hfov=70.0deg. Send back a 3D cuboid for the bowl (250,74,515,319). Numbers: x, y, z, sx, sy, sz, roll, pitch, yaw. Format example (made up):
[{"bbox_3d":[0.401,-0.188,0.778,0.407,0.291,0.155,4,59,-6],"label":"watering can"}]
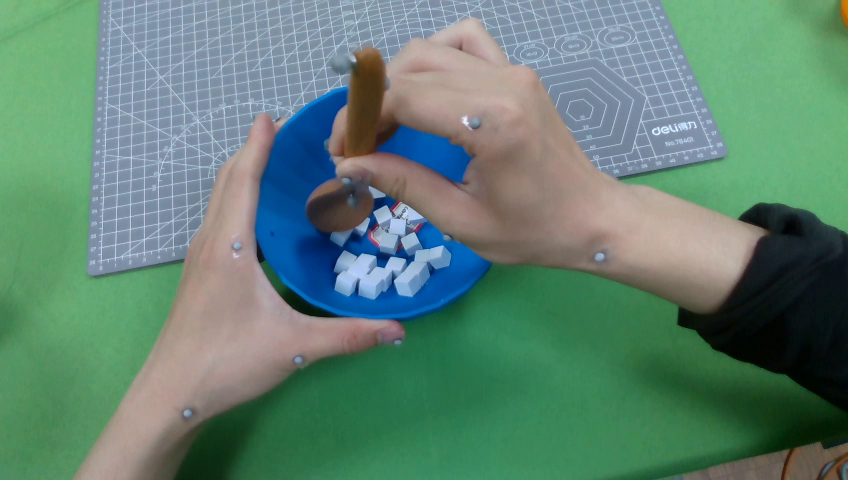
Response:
[{"bbox_3d":[-0.022,-0.017,0.377,0.151,0.077,0.150,-1,71,2],"label":"bowl"}]

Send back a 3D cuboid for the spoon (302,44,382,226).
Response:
[{"bbox_3d":[-0.036,-0.037,0.288,0.042,0.194,0.021,-6,81,-13],"label":"spoon"}]
